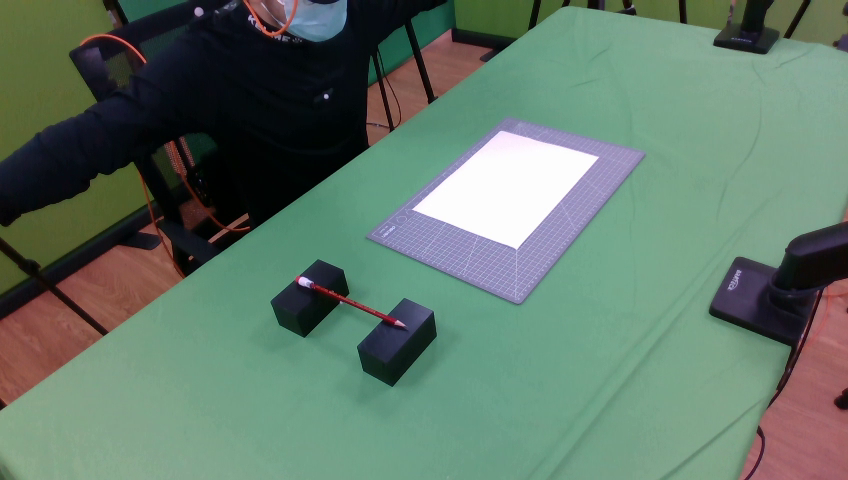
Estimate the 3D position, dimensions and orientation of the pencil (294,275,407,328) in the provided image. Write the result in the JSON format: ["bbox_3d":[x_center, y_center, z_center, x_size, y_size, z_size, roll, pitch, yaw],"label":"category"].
[{"bbox_3d":[-0.103,0.083,0.820,0.192,0.012,0.012,20,47,27],"label":"pencil"}]
